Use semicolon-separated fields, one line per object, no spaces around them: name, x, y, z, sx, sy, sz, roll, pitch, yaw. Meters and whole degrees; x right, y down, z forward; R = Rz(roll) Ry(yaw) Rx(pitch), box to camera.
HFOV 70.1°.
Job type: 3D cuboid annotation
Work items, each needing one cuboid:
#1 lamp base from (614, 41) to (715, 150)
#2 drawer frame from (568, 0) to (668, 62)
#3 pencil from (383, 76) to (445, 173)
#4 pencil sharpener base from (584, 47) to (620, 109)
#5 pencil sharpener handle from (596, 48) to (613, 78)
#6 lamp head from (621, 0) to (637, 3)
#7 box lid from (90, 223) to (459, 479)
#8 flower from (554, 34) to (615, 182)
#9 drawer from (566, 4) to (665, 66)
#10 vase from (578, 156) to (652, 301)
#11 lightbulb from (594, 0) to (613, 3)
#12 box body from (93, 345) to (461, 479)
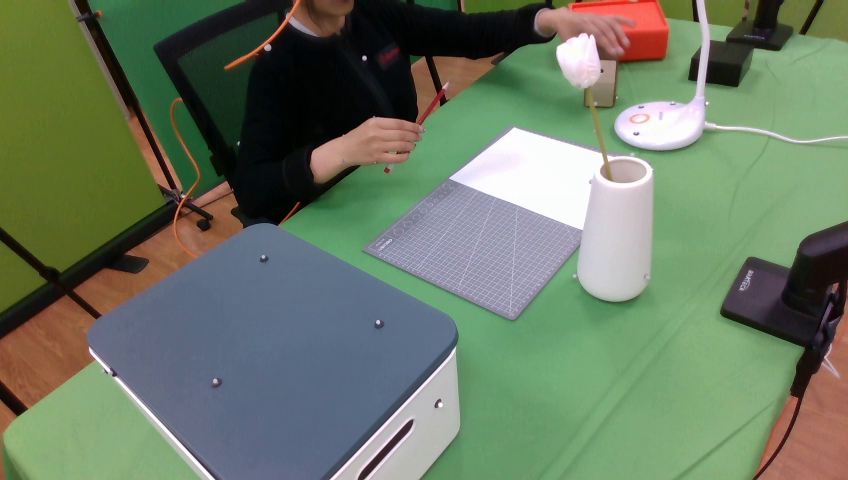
lamp base;0.449;-0.277;1.106;0.179;0.181;0.160;1;41;9
drawer frame;0.450;-0.496;1.441;0.213;0.083;0.201;-1;40;9
pencil;-0.017;-0.198;1.042;0.012;0.194;0.012;31;14;-8
pencil sharpener base;0.367;-0.336;1.249;0.061;0.107;0.076;6;42;19
pencil sharpener handle;0.383;-0.378;1.276;0.036;0.068;0.030;3;41;21
lamp head;0.319;-0.453;0.962;0.113;0.123;0.112;20;33;-13
box lid;-0.174;0.102;0.666;0.368;0.015;0.264;24;49;35
flower;0.237;-0.083;0.774;0.044;0.363;0.038;-22;26;6
drawer;0.447;-0.493;1.440;0.211;0.073;0.194;0;40;10
vase;0.261;-0.011;0.812;0.098;0.201;0.097;-4;40;4
lightbulb;0.305;-0.437;0.977;0.060;0.107;0.059;12;44;-11
box body;-0.162;0.170;0.708;0.361;0.161;0.255;25;50;34
